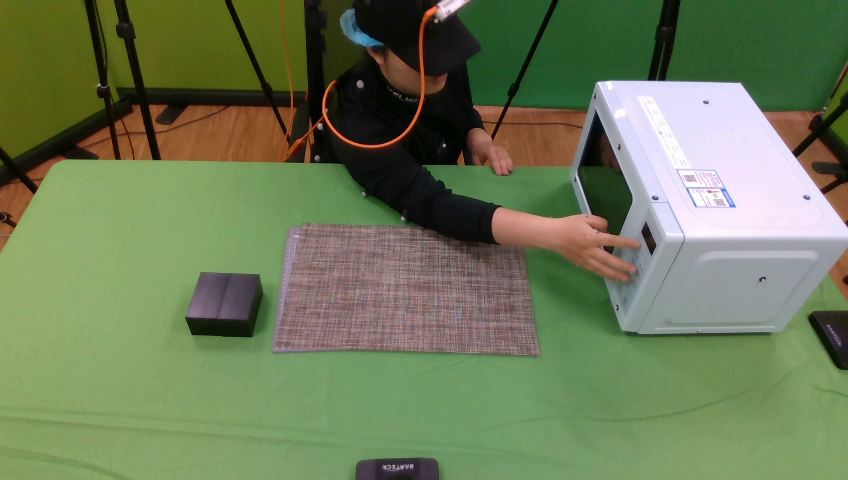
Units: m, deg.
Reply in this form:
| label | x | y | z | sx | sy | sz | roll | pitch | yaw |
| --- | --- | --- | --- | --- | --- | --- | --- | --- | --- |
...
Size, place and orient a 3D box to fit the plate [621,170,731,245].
| label | x | y | z | sx | sy | sz | roll | pitch | yaw |
| --- | --- | --- | --- | --- | --- | --- | --- | --- | --- |
| plate | 0.490 | -0.061 | 1.193 | 0.209 | 0.038 | 0.208 | 2 | 45 | -2 |

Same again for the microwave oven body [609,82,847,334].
| label | x | y | z | sx | sy | sz | roll | pitch | yaw |
| --- | --- | --- | --- | --- | --- | --- | --- | --- | --- |
| microwave oven body | 0.502 | -0.069 | 1.132 | 0.326 | 0.261 | 0.438 | -1 | 45 | -4 |

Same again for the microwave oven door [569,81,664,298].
| label | x | y | z | sx | sy | sz | roll | pitch | yaw |
| --- | --- | --- | --- | --- | --- | --- | --- | --- | --- |
| microwave oven door | 0.353 | -0.103 | 1.147 | 0.039 | 0.245 | 0.353 | 0 | 46 | -4 |

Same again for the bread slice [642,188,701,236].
| label | x | y | z | sx | sy | sz | roll | pitch | yaw |
| --- | --- | --- | --- | --- | --- | --- | --- | --- | --- |
| bread slice | 0.494 | -0.057 | 1.197 | 0.105 | 0.019 | 0.131 | 6 | 43 | 4 |

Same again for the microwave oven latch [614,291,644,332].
| label | x | y | z | sx | sy | sz | roll | pitch | yaw |
| --- | --- | --- | --- | --- | --- | --- | --- | --- | --- |
| microwave oven latch | 0.359 | 0.125 | 1.067 | 0.030 | 0.029 | 0.078 | 1 | 45 | -2 |
